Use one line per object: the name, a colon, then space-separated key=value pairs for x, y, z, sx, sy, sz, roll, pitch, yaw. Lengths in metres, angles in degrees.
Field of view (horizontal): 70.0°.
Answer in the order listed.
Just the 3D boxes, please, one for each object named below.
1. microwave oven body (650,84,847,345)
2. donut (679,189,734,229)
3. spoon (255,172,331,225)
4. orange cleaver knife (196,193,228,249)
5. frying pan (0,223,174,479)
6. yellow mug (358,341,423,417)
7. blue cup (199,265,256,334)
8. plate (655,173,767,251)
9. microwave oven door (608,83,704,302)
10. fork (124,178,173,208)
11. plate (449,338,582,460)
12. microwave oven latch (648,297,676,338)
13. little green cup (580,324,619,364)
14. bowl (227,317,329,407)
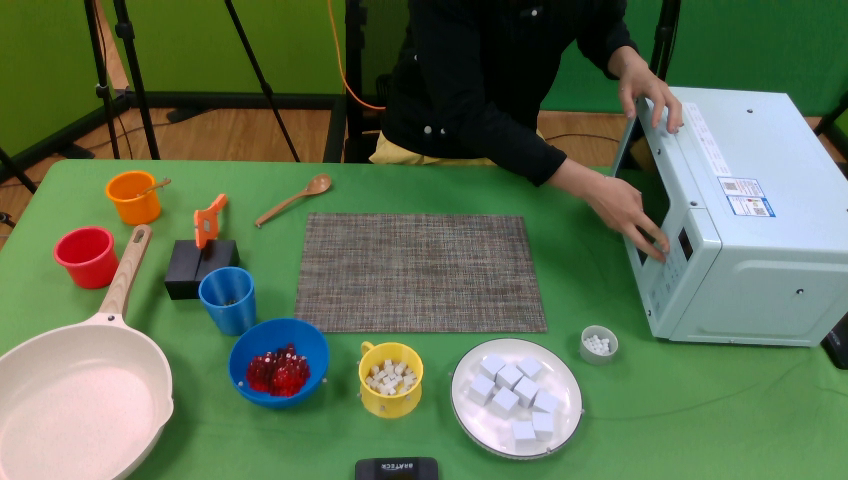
microwave oven body: x=0.569 y=-0.054 z=1.116 sx=0.326 sy=0.261 sz=0.439 roll=2 pitch=46 yaw=-1
donut: x=0.546 y=-0.062 z=1.175 sx=0.099 sy=0.048 sz=0.098 roll=-1 pitch=44 yaw=1
spoon: x=-0.272 y=-0.087 z=1.257 sx=0.041 sy=0.022 sz=0.193 roll=45 pitch=57 yaw=13
orange cleaver knife: x=-0.406 y=-0.041 z=1.163 sx=0.012 sy=0.077 sz=0.210 roll=-1 pitch=18 yaw=-3
frying pan: x=-0.504 y=0.169 z=0.941 sx=0.307 sy=0.103 sz=0.485 roll=5 pitch=54 yaw=-1
yellow mug: x=-0.062 y=0.209 z=0.961 sx=0.100 sy=0.064 sz=0.130 roll=-29 pitch=54 yaw=-27
blue cup: x=-0.321 y=0.107 z=1.014 sx=0.093 sy=0.101 sz=0.092 roll=2 pitch=48 yaw=-2
plate: x=0.555 y=-0.052 z=1.187 sx=0.209 sy=0.038 sz=0.208 roll=2 pitch=46 yaw=-2
microwave oven door: x=0.425 y=-0.096 z=1.138 sx=0.039 sy=0.245 sz=0.353 roll=2 pitch=47 yaw=-1
fork: x=-0.525 y=-0.090 z=1.154 sx=0.207 sy=0.019 sz=0.028 roll=-17 pitch=27 yaw=45
plate: x=0.141 y=0.251 z=0.956 sx=0.208 sy=0.039 sz=0.206 roll=2 pitch=47 yaw=-2
microwave oven latch: x=0.413 y=0.133 z=1.060 sx=0.030 sy=0.029 sz=0.078 roll=5 pitch=46 yaw=2
little green cup: x=0.296 y=0.179 z=1.031 sx=0.061 sy=0.039 sz=0.061 roll=2 pitch=44 yaw=-2
bowl: x=-0.222 y=0.203 z=0.947 sx=0.151 sy=0.077 sz=0.150 roll=2 pitch=46 yaw=-2
